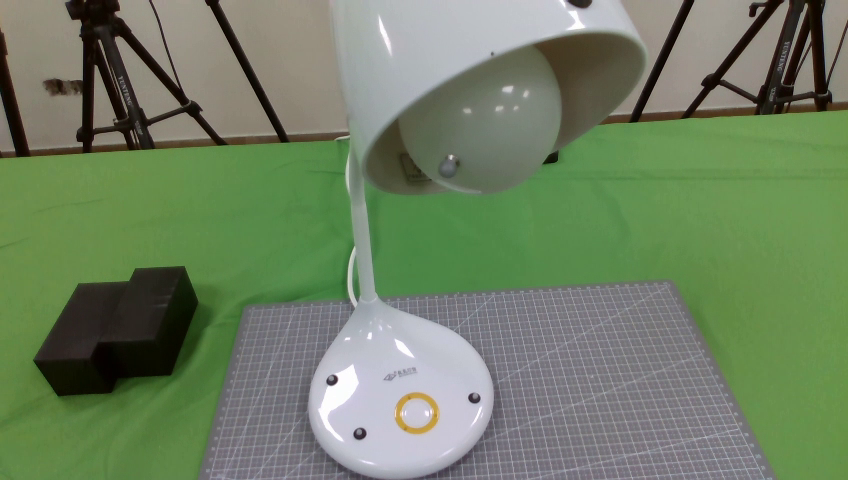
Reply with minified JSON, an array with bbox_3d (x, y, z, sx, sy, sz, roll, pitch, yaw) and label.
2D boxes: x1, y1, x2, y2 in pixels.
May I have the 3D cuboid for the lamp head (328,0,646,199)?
[{"bbox_3d":[0.010,-0.089,0.243,0.112,0.113,0.122,-16,70,-17],"label":"lamp head"}]

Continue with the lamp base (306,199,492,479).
[{"bbox_3d":[-0.031,0.068,0.485,0.161,0.182,0.177,-22,40,-22],"label":"lamp base"}]
